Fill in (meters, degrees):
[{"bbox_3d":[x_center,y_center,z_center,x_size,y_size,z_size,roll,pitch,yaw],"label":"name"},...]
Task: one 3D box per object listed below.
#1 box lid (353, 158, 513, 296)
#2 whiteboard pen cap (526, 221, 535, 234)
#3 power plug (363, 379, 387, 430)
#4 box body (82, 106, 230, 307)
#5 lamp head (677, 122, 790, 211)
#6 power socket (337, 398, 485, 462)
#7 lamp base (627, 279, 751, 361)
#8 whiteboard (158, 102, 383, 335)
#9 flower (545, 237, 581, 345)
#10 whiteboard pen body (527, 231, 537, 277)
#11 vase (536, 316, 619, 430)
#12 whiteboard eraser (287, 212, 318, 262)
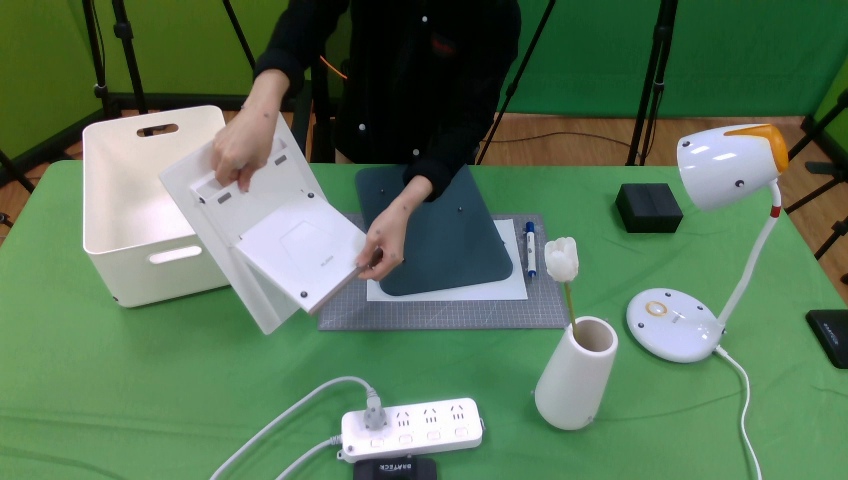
[{"bbox_3d":[0.009,-0.039,1.242,0.264,0.015,0.369,-8,47,-12],"label":"box lid"},{"bbox_3d":[0.216,-0.022,1.233,0.018,0.018,0.033,7,45,2],"label":"whiteboard pen cap"},{"bbox_3d":[-0.071,0.252,0.911,0.035,0.053,0.072,3,40,0],"label":"power plug"},{"bbox_3d":[-0.471,-0.071,1.131,0.254,0.161,0.361,-14,49,-17],"label":"box body"},{"bbox_3d":[0.423,-0.104,0.819,0.122,0.113,0.112,-13,33,39],"label":"lamp head"},{"bbox_3d":[-0.018,0.285,0.914,0.227,0.033,0.071,-4,46,-8],"label":"power socket"},{"bbox_3d":[0.460,0.100,1.027,0.178,0.181,0.160,27,51,17],"label":"lamp base"},{"bbox_3d":[-0.198,-0.026,0.905,0.143,0.307,0.217,7,40,46],"label":"whiteboard"},{"bbox_3d":[0.213,0.137,0.846,0.038,0.364,0.044,21,55,40],"label":"flower"},{"bbox_3d":[0.211,0.018,1.191,0.017,0.017,0.140,6,44,1],"label":"whiteboard pen body"},{"bbox_3d":[0.229,0.200,0.901,0.098,0.201,0.097,3,46,-3],"label":"vase"},{"bbox_3d":[-0.234,-0.007,1.172,0.055,0.042,0.112,-3,47,-5],"label":"whiteboard eraser"}]
